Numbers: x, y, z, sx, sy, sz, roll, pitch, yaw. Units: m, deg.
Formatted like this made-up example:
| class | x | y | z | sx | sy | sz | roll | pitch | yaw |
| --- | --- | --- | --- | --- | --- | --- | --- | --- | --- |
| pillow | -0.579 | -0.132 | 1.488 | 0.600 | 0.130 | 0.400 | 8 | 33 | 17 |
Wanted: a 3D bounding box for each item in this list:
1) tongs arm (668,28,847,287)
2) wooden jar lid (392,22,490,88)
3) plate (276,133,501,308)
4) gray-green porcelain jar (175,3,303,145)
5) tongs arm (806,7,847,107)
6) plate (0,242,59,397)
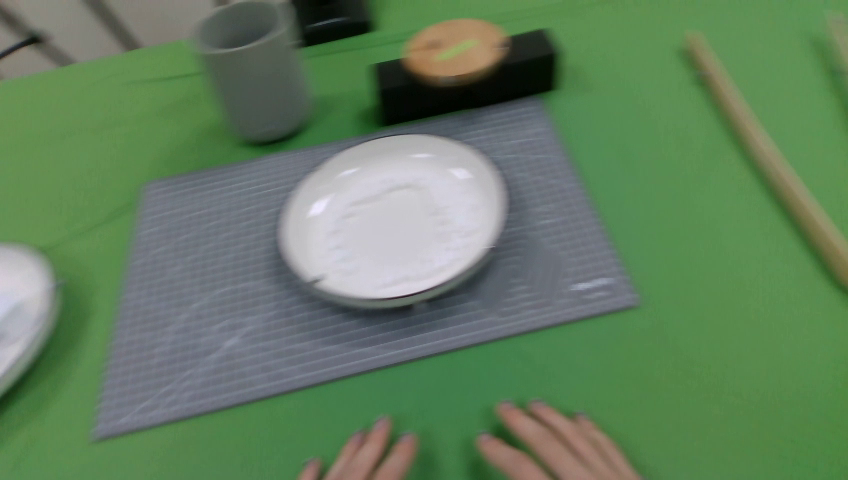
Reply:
| class | x | y | z | sx | sy | sz | roll | pitch | yaw |
| --- | --- | --- | --- | --- | --- | --- | --- | --- | --- |
| tongs arm | 0.320 | -0.097 | 0.587 | 0.028 | 0.028 | 0.383 | -10 | 49 | -2 |
| wooden jar lid | 0.019 | -0.203 | 0.664 | 0.108 | 0.021 | 0.107 | -4 | 51 | 5 |
| plate | -0.032 | -0.019 | 0.567 | 0.209 | 0.038 | 0.207 | -5 | 50 | 6 |
| gray-green porcelain jar | -0.198 | -0.179 | 0.674 | 0.106 | 0.128 | 0.105 | -5 | 49 | 6 |
| tongs arm | 0.402 | -0.107 | 0.576 | 0.050 | 0.027 | 0.381 | -1 | 51 | 10 |
| plate | -0.427 | 0.091 | 0.541 | 0.207 | 0.039 | 0.205 | -4 | 50 | 5 |
